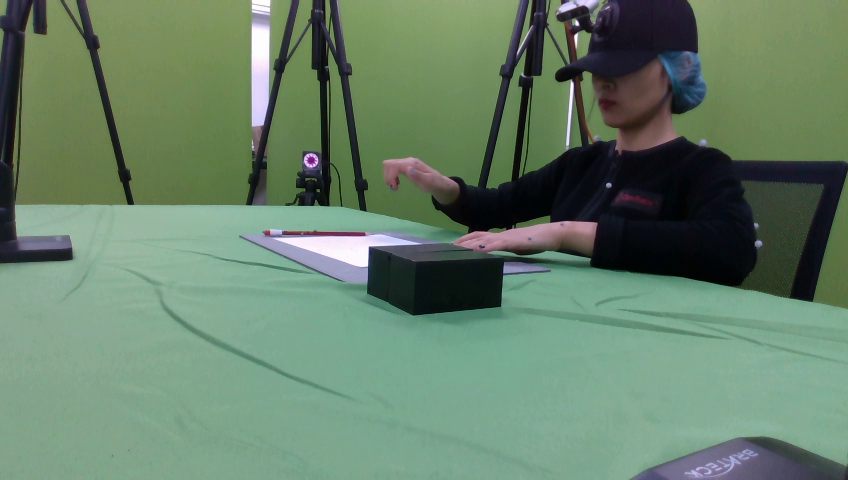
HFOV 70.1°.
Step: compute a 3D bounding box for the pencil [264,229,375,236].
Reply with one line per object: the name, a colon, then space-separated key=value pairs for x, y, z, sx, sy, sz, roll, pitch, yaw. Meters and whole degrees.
pencil: x=-0.180 y=-0.011 z=1.058 sx=0.195 sy=0.012 sz=0.012 roll=1 pitch=7 yaw=-21
